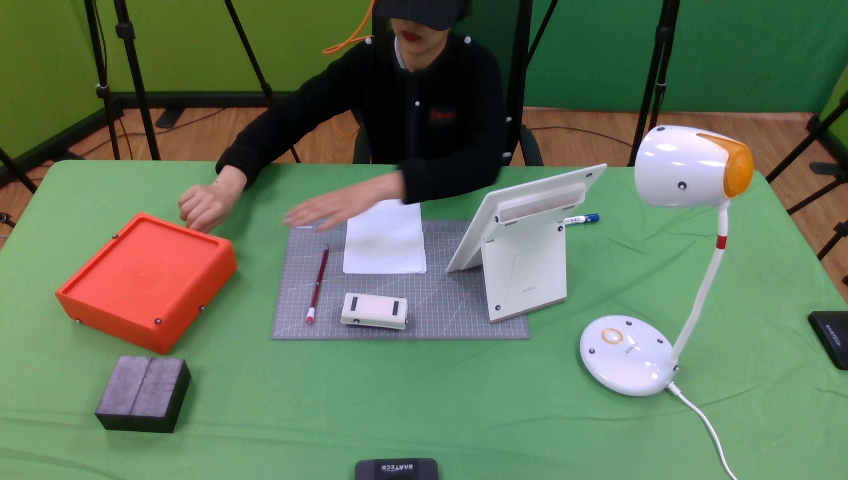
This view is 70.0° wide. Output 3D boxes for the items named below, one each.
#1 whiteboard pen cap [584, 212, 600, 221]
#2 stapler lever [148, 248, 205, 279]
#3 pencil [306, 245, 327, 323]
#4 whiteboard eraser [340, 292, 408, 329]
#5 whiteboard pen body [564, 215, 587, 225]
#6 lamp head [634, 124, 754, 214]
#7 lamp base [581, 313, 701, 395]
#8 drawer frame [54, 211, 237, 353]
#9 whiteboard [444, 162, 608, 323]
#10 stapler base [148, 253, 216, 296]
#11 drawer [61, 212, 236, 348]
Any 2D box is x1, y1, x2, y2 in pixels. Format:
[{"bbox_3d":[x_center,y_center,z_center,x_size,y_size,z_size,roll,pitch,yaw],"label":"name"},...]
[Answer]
[{"bbox_3d":[0.351,-0.049,1.271,0.033,0.018,0.018,-6,47,-11],"label":"whiteboard pen cap"},{"bbox_3d":[-0.444,0.038,1.083,0.118,0.040,0.027,19,52,18],"label":"stapler lever"},{"bbox_3d":[-0.196,0.076,1.115,0.012,0.012,0.193,4,44,0],"label":"pencil"},{"bbox_3d":[-0.087,0.125,1.052,0.113,0.042,0.055,5,45,1],"label":"whiteboard eraser"},{"bbox_3d":[0.291,-0.040,1.261,0.141,0.017,0.017,-6,47,-12],"label":"whiteboard pen body"},{"bbox_3d":[0.351,-0.089,0.775,0.112,0.113,0.122,-30,30,-28],"label":"lamp head"},{"bbox_3d":[0.361,0.144,0.972,0.178,0.181,0.160,34,53,23],"label":"lamp base"},{"bbox_3d":[-0.473,0.067,1.055,0.201,0.083,0.212,17,48,11],"label":"drawer frame"},{"bbox_3d":[0.186,0.026,1.028,0.217,0.306,0.143,-14,68,-18],"label":"whiteboard"},{"bbox_3d":[-0.443,0.058,1.108,0.130,0.024,0.041,24,53,12],"label":"stapler base"},{"bbox_3d":[-0.473,0.064,1.059,0.194,0.073,0.211,18,48,11],"label":"drawer"}]
